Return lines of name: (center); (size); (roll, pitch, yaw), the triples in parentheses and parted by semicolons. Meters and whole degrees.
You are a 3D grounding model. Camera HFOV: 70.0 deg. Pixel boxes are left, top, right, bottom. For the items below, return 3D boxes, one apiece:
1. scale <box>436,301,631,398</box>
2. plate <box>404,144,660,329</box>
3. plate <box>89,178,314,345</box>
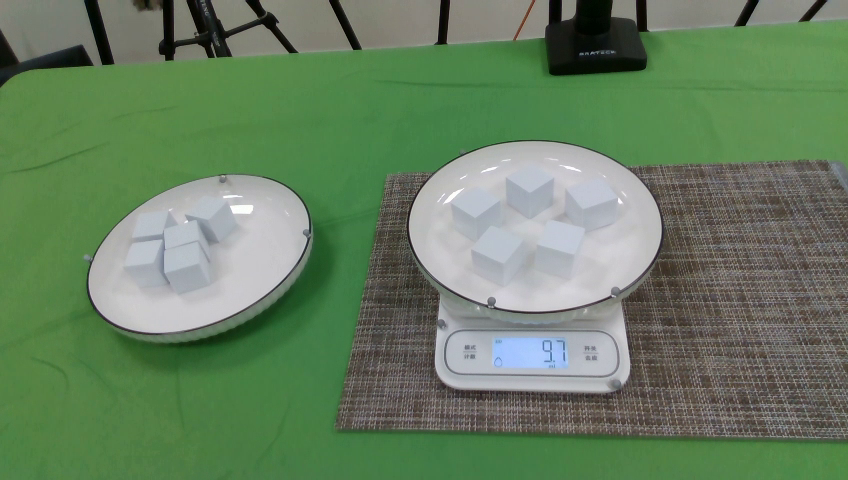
scale: (0.090, 0.039, 0.516); (0.148, 0.032, 0.199); (0, 46, 9)
plate: (0.088, -0.004, 0.512); (0.207, 0.039, 0.205); (-3, 45, 4)
plate: (-0.205, 0.020, 0.580); (0.209, 0.038, 0.207); (-4, 45, 4)
